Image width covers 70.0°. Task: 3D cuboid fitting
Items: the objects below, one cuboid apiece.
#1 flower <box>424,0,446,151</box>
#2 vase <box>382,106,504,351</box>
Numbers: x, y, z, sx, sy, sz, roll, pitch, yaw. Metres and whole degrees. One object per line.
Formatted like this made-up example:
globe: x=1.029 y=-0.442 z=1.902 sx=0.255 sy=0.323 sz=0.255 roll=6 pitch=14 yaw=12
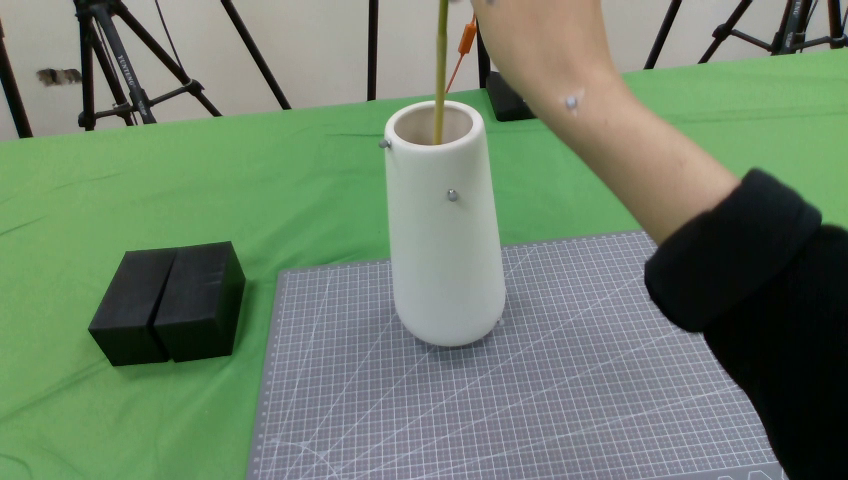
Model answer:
flower: x=0.013 y=-0.146 z=0.342 sx=0.044 sy=0.365 sz=0.038 roll=-26 pitch=54 yaw=-27
vase: x=0.013 y=-0.003 z=0.484 sx=0.098 sy=0.202 sz=0.097 roll=-4 pitch=40 yaw=4
